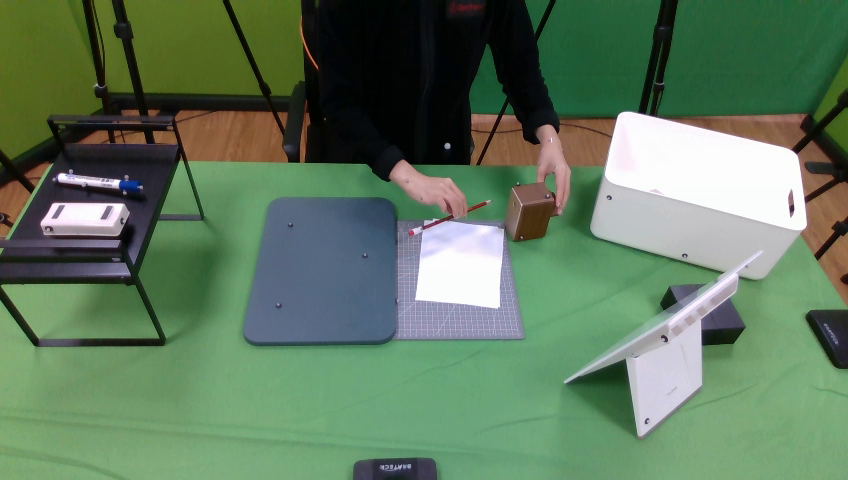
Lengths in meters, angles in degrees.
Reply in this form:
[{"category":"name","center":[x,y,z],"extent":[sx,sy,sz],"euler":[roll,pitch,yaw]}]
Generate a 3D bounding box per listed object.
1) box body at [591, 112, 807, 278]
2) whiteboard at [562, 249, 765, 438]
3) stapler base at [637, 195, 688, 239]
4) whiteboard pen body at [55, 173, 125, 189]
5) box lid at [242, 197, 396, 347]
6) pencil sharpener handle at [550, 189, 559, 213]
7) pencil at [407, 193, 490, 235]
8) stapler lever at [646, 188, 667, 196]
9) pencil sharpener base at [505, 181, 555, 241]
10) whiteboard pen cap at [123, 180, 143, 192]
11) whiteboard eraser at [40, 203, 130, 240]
[{"category":"box body","center":[0.540,-0.092,1.229],"extent":[0.363,0.161,0.253],"euler":[16,47,11]},{"category":"whiteboard","center":[0.386,0.175,0.905],"extent":[0.217,0.306,0.143],"euler":[-26,72,-26]},{"category":"stapler base","center":[0.507,-0.055,1.280],"extent":[0.041,0.024,0.129],"euler":[-14,47,-19]},{"category":"whiteboard pen body","center":[-0.539,-0.095,0.998],"extent":[0.141,0.017,0.017],"euler":[6,46,6]},{"category":"box lid","center":[-0.186,0.046,1.147],"extent":[0.263,0.015,0.369],"euler":[0,46,-3]},{"category":"pencil sharpener handle","center":[0.261,-0.076,1.214],"extent":[0.031,0.068,0.036],"euler":[-9,56,-13]},{"category":"pencil","center":[0.052,-0.053,1.189],"extent":[0.194,0.012,0.012],"euler":[-27,54,-18]},{"category":"stapler lever","center":[0.507,-0.075,1.262],"extent":[0.027,0.040,0.117],"euler":[-14,46,-19]},{"category":"pencil sharpener base","center":[0.212,-0.058,1.210],"extent":[0.077,0.107,0.061],"euler":[-9,47,-13]},{"category":"whiteboard pen cap","center":[-0.479,-0.089,0.993],"extent":[0.033,0.018,0.018],"euler":[7,46,14]},{"category":"whiteboard eraser","center":[-0.513,-0.028,0.922],"extent":[0.113,0.042,0.055],"euler":[1,48,-3]}]
